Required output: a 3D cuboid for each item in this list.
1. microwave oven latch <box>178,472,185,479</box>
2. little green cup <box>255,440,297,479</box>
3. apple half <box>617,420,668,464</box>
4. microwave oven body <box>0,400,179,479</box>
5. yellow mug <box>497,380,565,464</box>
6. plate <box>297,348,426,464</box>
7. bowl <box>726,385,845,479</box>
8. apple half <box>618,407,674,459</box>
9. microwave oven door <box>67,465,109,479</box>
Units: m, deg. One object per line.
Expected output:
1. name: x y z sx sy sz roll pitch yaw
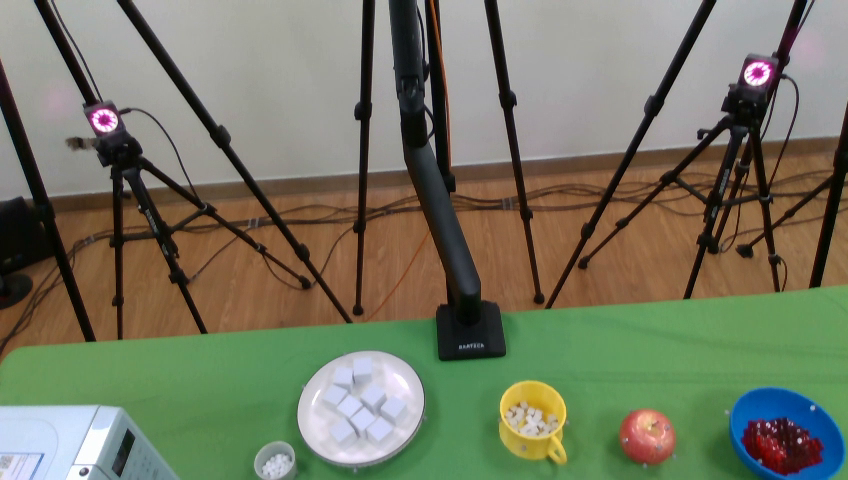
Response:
1. microwave oven latch: -0.371 0.379 0.877 0.030 0.030 0.078 0 46 4
2. little green cup: -0.224 0.342 0.926 0.061 0.039 0.061 -1 46 2
3. apple half: 0.313 0.307 0.891 0.080 0.082 0.033 29 51 30
4. microwave oven body: -0.531 0.440 0.693 0.326 0.263 0.437 -1 46 3
5. yellow mug: 0.173 0.286 0.931 0.100 0.064 0.129 -25 49 -19
6. plate: -0.099 0.271 0.990 0.207 0.039 0.205 -2 45 3
7. bowl: 0.512 0.296 0.882 0.151 0.077 0.150 -3 45 3
8. apple half: 0.338 0.286 0.912 0.080 0.075 0.053 27 50 32
9. microwave oven door: -0.387 0.462 0.651 0.039 0.246 0.352 -2 45 4
